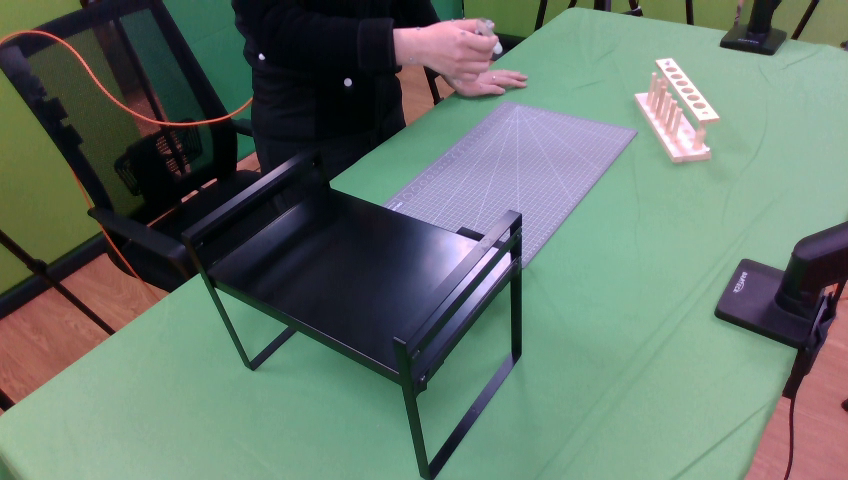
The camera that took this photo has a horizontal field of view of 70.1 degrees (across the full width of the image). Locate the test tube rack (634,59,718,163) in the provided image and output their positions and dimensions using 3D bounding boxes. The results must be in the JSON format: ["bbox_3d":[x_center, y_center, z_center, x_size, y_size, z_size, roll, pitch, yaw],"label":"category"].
[{"bbox_3d":[0.470,-0.250,1.148,0.067,0.085,0.241,-6,40,3],"label":"test tube rack"}]

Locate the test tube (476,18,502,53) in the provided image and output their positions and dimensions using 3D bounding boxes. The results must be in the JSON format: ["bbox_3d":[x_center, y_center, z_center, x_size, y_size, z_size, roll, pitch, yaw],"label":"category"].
[{"bbox_3d":[0.101,-0.313,0.932,0.017,0.017,0.151,6,5,16],"label":"test tube"}]
